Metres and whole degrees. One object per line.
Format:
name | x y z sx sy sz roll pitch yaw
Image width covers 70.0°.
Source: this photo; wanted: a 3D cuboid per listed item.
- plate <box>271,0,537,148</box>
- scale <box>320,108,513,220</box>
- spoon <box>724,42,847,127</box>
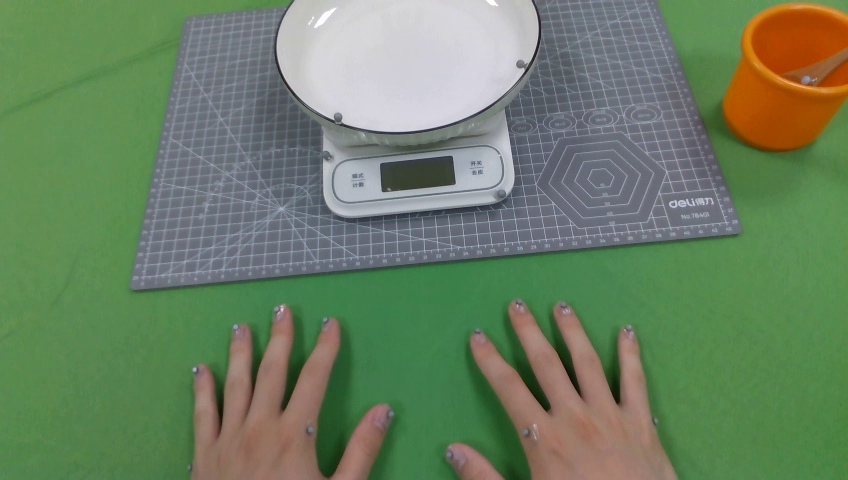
plate | -0.016 -0.153 0.485 0.209 0.038 0.207 -1 60 3
scale | -0.011 -0.112 0.499 0.148 0.032 0.199 -6 60 2
spoon | 0.308 -0.137 0.423 0.022 0.193 0.041 15 56 -38
